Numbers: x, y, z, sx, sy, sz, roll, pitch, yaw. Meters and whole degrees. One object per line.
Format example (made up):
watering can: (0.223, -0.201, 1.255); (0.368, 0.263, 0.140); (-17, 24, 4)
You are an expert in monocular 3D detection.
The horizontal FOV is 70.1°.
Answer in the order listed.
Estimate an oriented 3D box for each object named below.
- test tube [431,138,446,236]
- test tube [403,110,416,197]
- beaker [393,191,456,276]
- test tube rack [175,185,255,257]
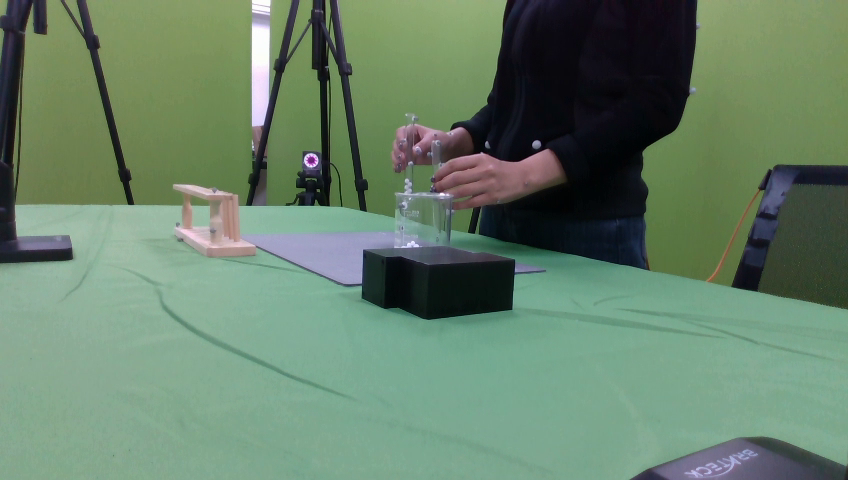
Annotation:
test tube: (0.023, -0.081, 0.927); (0.017, 0.150, 0.017); (-3, 2, 0)
test tube: (-0.025, -0.143, 1.018); (0.017, 0.150, 0.017); (2, 25, -1)
beaker: (-0.003, -0.010, 0.749); (0.074, 0.100, 0.083); (-3, 8, -40)
test tube rack: (-0.324, -0.035, 0.922); (0.067, 0.085, 0.241); (-2, 9, -31)
